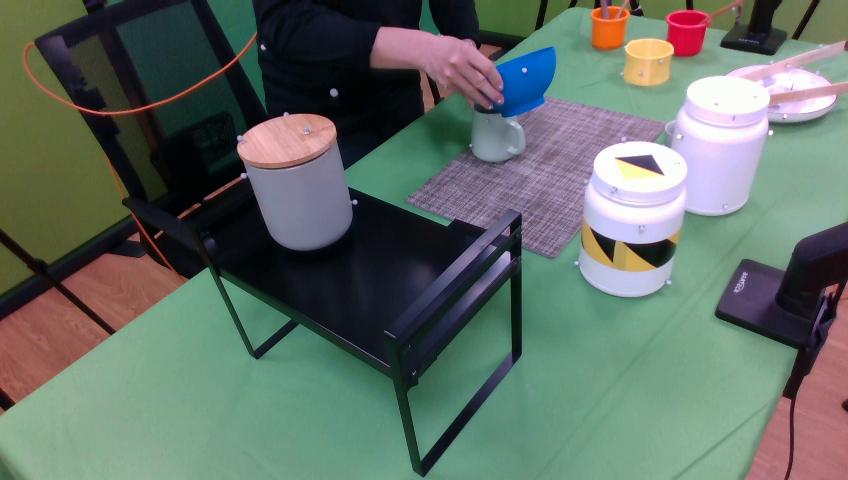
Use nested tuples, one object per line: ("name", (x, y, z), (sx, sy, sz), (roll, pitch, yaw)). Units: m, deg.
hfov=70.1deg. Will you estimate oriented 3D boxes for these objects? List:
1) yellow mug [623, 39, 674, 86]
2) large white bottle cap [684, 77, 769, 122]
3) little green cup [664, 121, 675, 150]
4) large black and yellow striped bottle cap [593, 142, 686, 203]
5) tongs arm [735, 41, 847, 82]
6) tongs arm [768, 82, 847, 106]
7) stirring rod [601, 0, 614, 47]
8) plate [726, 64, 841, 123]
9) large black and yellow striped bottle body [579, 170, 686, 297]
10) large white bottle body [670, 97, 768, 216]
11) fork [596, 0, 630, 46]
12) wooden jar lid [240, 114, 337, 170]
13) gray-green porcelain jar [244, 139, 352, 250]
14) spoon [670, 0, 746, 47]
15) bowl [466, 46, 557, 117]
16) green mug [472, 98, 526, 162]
("yellow mug", (0.484, -0.398, 1.334), (0.100, 0.064, 0.130), (-18, 41, -11))
("large white bottle cap", (0.448, -0.209, 0.898), (0.115, 0.018, 0.114), (-4, 40, 4))
("little green cup", (0.472, -0.188, 1.113), (0.061, 0.039, 0.061), (-5, 40, 5))
("large black and yellow striped bottle cap", (0.280, -0.090, 0.786), (0.115, 0.019, 0.114), (-5, 41, 5))
("tongs arm", (0.712, -0.332, 1.194), (0.386, 0.026, 0.050), (-18, 44, -16))
("tongs arm", (0.738, -0.282, 1.134), (0.388, 0.028, 0.028), (-9, 46, -5))
("stirring rod", (0.439, -0.552, 1.463), (0.014, 0.006, 0.175), (-7, 83, 3))
("plate", (0.695, -0.282, 1.189), (0.207, 0.039, 0.206), (-4, 40, 4))
("large black and yellow striped bottle body", (0.287, -0.027, 0.841), (0.131, 0.185, 0.130), (-4, 40, 4))
("large white bottle body", (0.458, -0.146, 0.952), (0.130, 0.185, 0.130), (-4, 40, 4))
("fork", (0.481, -0.556, 1.453), (0.028, 0.019, 0.207), (40, 103, 38))
("wooden jar lid", (-0.149, -0.106, 0.673), (0.108, 0.021, 0.108), (-6, 38, 5))
("gray-green porcelain jar", (-0.144, -0.060, 0.714), (0.106, 0.127, 0.105), (-4, 41, 4))
("spoon", (0.629, -0.485, 1.350), (0.022, 0.193, 0.042), (48, 54, -7))
("bowl", (0.151, -0.251, 0.985), (0.151, 0.077, 0.151), (-19, 18, 7))
("green mug", (0.144, -0.202, 1.122), (0.093, 0.105, 0.124), (-29, 45, -23))
